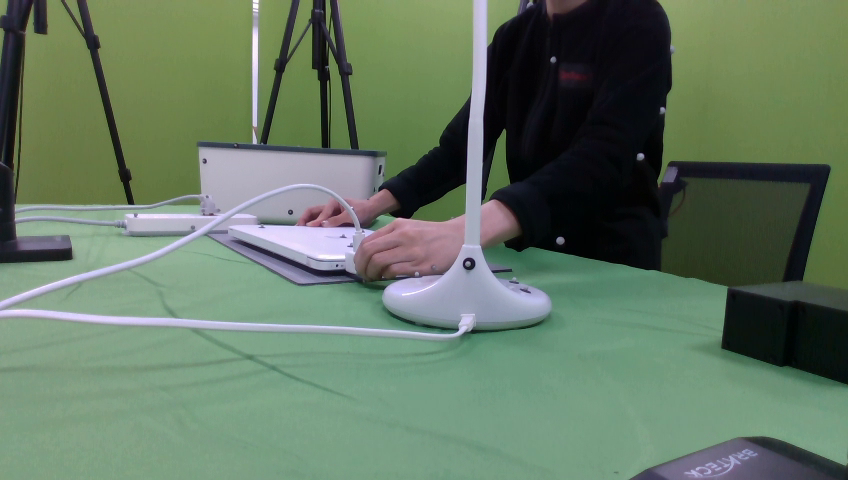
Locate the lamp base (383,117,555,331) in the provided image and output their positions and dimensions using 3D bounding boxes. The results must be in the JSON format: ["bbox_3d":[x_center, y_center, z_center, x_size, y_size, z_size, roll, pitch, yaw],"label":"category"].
[{"bbox_3d":[0.045,-0.019,0.547,0.161,0.180,0.179,2,10,-4],"label":"lamp base"}]

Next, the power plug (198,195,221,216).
[{"bbox_3d":[-0.387,-0.055,1.089,0.035,0.052,0.072,-1,6,-23],"label":"power plug"}]

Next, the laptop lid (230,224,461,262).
[{"bbox_3d":[-0.119,0.001,0.889,0.243,0.013,0.355,1,7,-33],"label":"laptop lid"}]

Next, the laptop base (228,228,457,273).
[{"bbox_3d":[-0.122,0.012,0.889,0.237,0.023,0.352,1,6,-35],"label":"laptop base"}]

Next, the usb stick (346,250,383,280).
[{"bbox_3d":[-0.072,0.027,0.688,0.021,0.027,0.059,-14,15,-36],"label":"usb stick"}]

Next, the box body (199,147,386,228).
[{"bbox_3d":[-0.276,-0.124,1.334,0.364,0.160,0.254,3,7,1],"label":"box body"}]

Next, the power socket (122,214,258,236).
[{"bbox_3d":[-0.398,-0.028,1.049,0.228,0.032,0.072,-3,8,-34],"label":"power socket"}]

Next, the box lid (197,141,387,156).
[{"bbox_3d":[-0.275,-0.198,1.325,0.372,0.015,0.263,3,8,1],"label":"box lid"}]
